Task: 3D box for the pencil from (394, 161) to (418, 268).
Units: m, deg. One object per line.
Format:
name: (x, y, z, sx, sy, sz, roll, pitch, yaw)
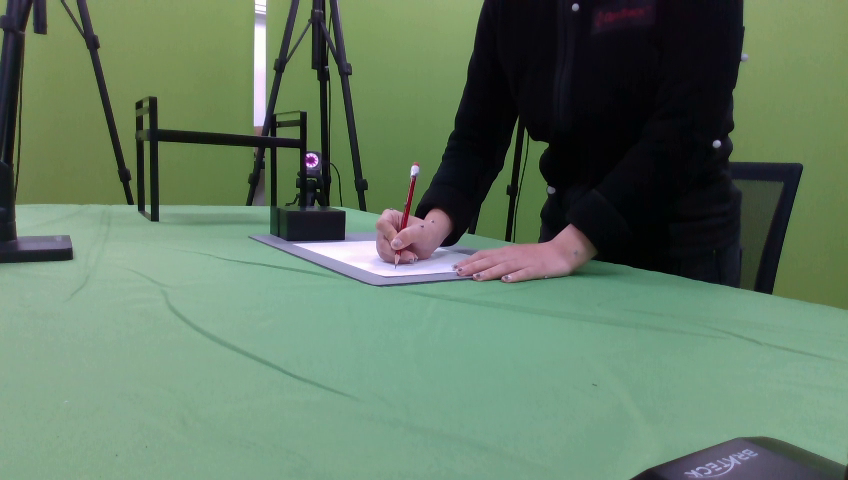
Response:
pencil: (-0.025, -0.039, 0.831, 0.012, 0.012, 0.194, 4, 51, 7)
